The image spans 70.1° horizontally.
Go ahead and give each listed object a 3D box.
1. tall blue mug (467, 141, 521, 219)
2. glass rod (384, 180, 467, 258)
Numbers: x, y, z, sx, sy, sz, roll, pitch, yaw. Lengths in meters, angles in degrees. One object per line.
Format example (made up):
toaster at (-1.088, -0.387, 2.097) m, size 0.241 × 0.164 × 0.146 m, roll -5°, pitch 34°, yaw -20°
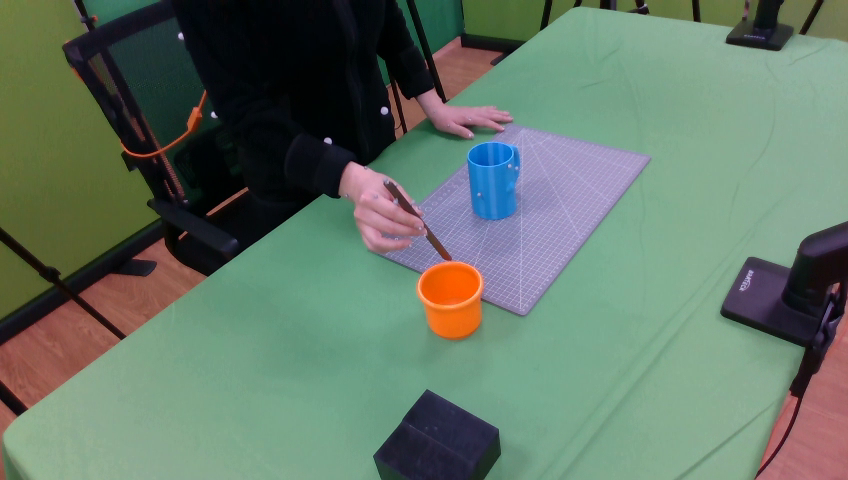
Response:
tall blue mug at (0.119, -0.109, 1.020) m, size 0.077 × 0.108 × 0.107 m, roll 2°, pitch 42°, yaw 16°
glass rod at (0.007, -0.023, 0.784) m, size 0.008 × 0.201 × 0.008 m, roll -19°, pitch 52°, yaw 26°
